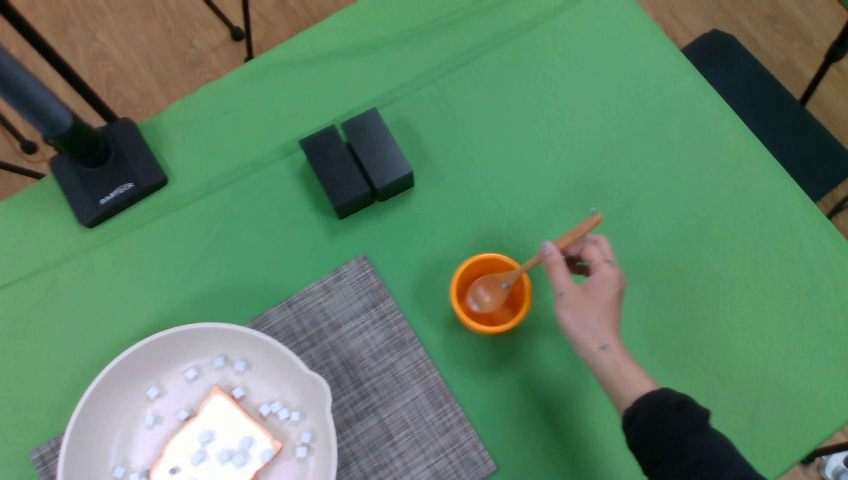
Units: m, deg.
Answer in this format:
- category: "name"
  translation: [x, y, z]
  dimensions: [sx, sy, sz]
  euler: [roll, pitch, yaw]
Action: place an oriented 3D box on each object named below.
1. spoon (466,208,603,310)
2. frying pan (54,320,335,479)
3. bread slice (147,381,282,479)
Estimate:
- category: "spoon"
  translation: [0.114, 0.023, 0.649]
  dimensions: [0.022, 0.194, 0.041]
  euler: [-21, 76, -48]
- category: "frying pan"
  translation: [-0.188, 0.317, 0.621]
  dimensions: [0.307, 0.103, 0.483]
  euler: [-29, 68, -7]
- category: "bread slice"
  translation: [-0.239, 0.246, 0.683]
  dimensions: [0.106, 0.018, 0.134]
  euler: [36, 75, 10]
